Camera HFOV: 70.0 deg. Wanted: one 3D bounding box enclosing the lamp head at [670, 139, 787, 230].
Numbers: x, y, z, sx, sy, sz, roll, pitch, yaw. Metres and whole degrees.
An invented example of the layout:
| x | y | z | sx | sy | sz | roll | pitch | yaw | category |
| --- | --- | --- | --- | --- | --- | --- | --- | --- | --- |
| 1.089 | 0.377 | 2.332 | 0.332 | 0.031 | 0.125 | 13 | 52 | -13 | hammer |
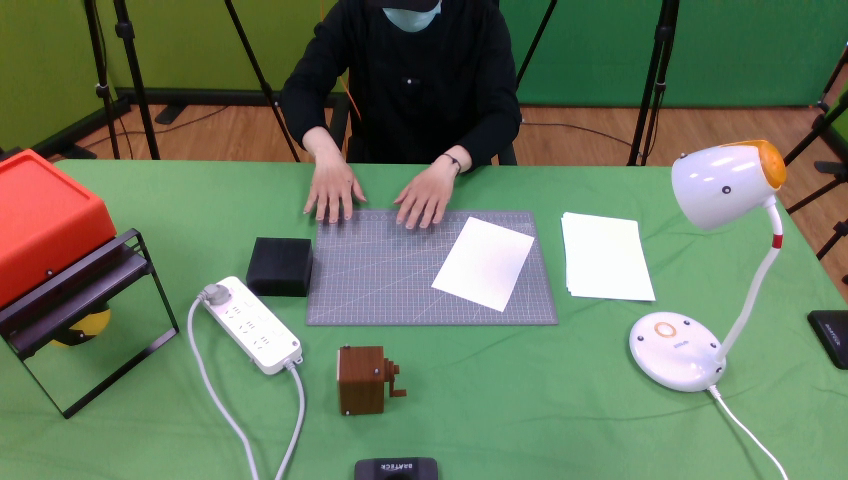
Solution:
| x | y | z | sx | sy | sz | roll | pitch | yaw | category |
| --- | --- | --- | --- | --- | --- | --- | --- | --- | --- |
| 0.415 | -0.079 | 0.812 | 0.113 | 0.123 | 0.112 | 12 | 70 | -37 | lamp head |

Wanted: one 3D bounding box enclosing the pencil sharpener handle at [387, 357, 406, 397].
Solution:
| x | y | z | sx | sy | sz | roll | pitch | yaw | category |
| --- | --- | --- | --- | --- | --- | --- | --- | --- | --- |
| -0.041 | 0.209 | 0.919 | 0.031 | 0.068 | 0.036 | -1 | 25 | -6 | pencil sharpener handle |

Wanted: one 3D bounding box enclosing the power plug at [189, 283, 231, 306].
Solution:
| x | y | z | sx | sy | sz | roll | pitch | yaw | category |
| --- | --- | --- | --- | --- | --- | --- | --- | --- | --- |
| -0.368 | 0.099 | 1.037 | 0.072 | 0.053 | 0.035 | -24 | 52 | -25 | power plug |

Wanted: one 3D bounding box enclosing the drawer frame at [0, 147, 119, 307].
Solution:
| x | y | z | sx | sy | sz | roll | pitch | yaw | category |
| --- | --- | --- | --- | --- | --- | --- | --- | --- | --- |
| -0.603 | -0.020 | 0.882 | 0.201 | 0.083 | 0.213 | 29 | 52 | 21 | drawer frame |

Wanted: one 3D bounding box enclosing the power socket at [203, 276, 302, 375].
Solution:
| x | y | z | sx | sy | sz | roll | pitch | yaw | category |
| --- | --- | --- | --- | --- | --- | --- | --- | --- | --- |
| -0.297 | 0.141 | 1.034 | 0.072 | 0.033 | 0.225 | -34 | 58 | -30 | power socket |

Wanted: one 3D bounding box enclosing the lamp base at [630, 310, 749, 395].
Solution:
| x | y | z | sx | sy | sz | roll | pitch | yaw | category |
| --- | --- | --- | --- | --- | --- | --- | --- | --- | --- |
| 0.447 | 0.142 | 0.984 | 0.161 | 0.181 | 0.178 | -24 | 55 | -24 | lamp base |

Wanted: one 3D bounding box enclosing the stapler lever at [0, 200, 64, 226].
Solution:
| x | y | z | sx | sy | sz | roll | pitch | yaw | category |
| --- | --- | --- | --- | --- | --- | --- | --- | --- | --- |
| -0.594 | -0.042 | 0.904 | 0.118 | 0.040 | 0.026 | 5 | 41 | 10 | stapler lever |

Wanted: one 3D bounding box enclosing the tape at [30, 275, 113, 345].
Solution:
| x | y | z | sx | sy | sz | roll | pitch | yaw | category |
| --- | --- | --- | --- | --- | --- | --- | --- | --- | --- |
| -0.594 | 0.117 | 1.021 | 0.117 | 0.053 | 0.116 | 2 | 45 | -2 | tape |

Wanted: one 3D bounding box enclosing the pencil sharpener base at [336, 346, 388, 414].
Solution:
| x | y | z | sx | sy | sz | roll | pitch | yaw | category |
| --- | --- | --- | --- | --- | --- | --- | --- | --- | --- |
| -0.094 | 0.215 | 0.927 | 0.077 | 0.107 | 0.061 | -1 | 46 | -6 | pencil sharpener base |

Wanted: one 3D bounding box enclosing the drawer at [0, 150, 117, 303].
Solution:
| x | y | z | sx | sy | sz | roll | pitch | yaw | category |
| --- | --- | --- | --- | --- | --- | --- | --- | --- | --- |
| -0.604 | -0.021 | 0.885 | 0.194 | 0.073 | 0.211 | 30 | 52 | 22 | drawer |

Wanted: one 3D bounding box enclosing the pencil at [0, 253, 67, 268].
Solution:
| x | y | z | sx | sy | sz | roll | pitch | yaw | category |
| --- | --- | --- | --- | --- | --- | --- | --- | --- | --- |
| -0.608 | 0.023 | 0.874 | 0.194 | 0.012 | 0.012 | 9 | 46 | 2 | pencil |

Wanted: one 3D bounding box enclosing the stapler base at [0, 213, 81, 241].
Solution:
| x | y | z | sx | sy | sz | roll | pitch | yaw | category |
| --- | --- | --- | --- | --- | --- | --- | --- | --- | --- |
| -0.591 | -0.024 | 0.921 | 0.130 | 0.024 | 0.041 | 4 | 41 | 10 | stapler base |
